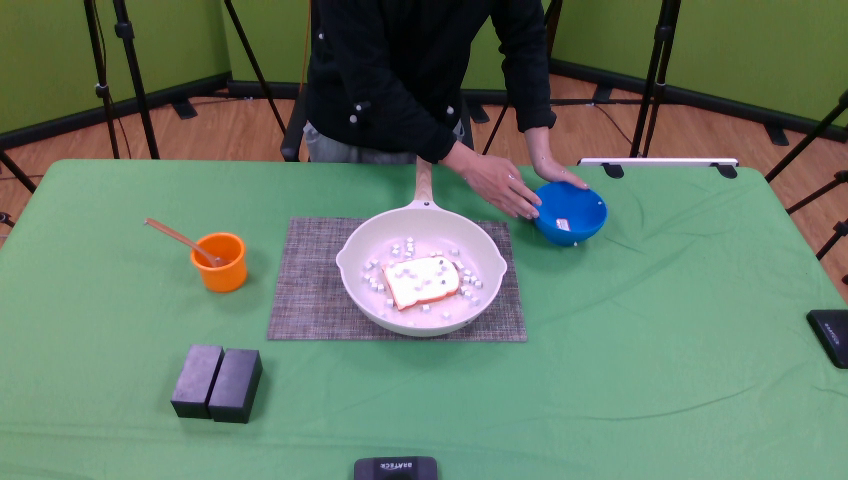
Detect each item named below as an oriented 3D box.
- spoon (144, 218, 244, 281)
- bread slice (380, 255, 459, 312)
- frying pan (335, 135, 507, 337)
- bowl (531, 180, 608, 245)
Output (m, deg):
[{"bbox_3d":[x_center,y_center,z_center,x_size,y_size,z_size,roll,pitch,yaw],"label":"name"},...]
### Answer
[{"bbox_3d":[-0.401,0.015,1.064,0.195,0.021,0.041,41,37,-29],"label":"spoon"},{"bbox_3d":[-0.005,0.074,1.119,0.134,0.018,0.106,-16,50,-16],"label":"bread slice"},{"bbox_3d":[-0.004,-0.026,1.160,0.307,0.103,0.485,4,55,-2],"label":"frying pan"},{"bbox_3d":[0.284,-0.044,1.222,0.151,0.077,0.150,2,46,-2],"label":"bowl"}]
